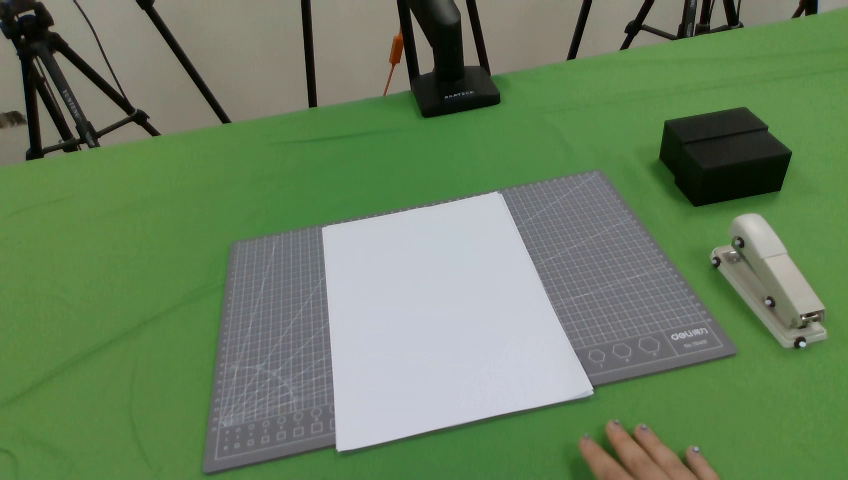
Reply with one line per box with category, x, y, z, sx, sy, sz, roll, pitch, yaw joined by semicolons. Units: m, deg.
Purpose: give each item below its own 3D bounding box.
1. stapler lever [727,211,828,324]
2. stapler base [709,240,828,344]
stapler lever;0.310;0.019;0.536;0.027;0.040;0.116;-13;42;-3
stapler base;0.312;0.037;0.554;0.041;0.025;0.129;-13;42;-3
